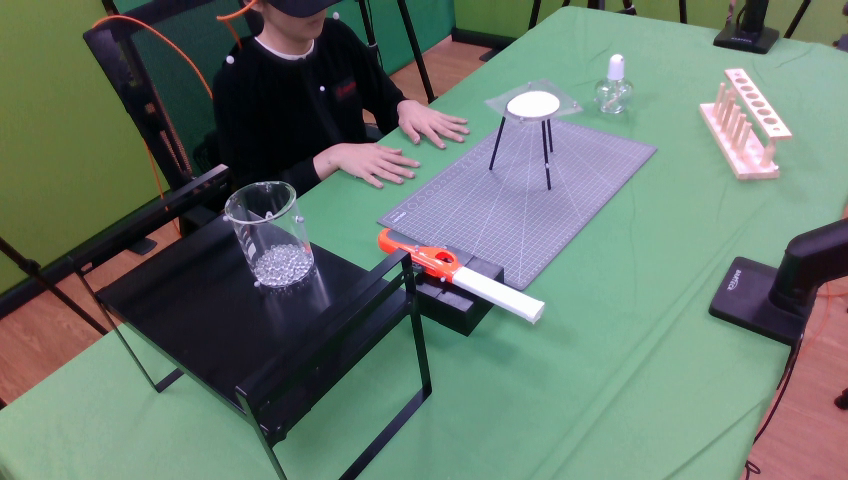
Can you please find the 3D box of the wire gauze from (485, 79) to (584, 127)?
[{"bbox_3d":[0.185,-0.232,1.024,0.125,0.011,0.120,-20,42,-12],"label":"wire gauze"}]

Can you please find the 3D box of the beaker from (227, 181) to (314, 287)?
[{"bbox_3d":[-0.166,-0.006,0.670,0.074,0.101,0.083,-8,40,0],"label":"beaker"}]

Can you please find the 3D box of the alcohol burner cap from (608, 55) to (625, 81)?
[{"bbox_3d":[0.383,-0.343,1.198,0.034,0.048,0.033,-5,41,5],"label":"alcohol burner cap"}]

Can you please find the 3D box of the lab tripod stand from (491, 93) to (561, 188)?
[{"bbox_3d":[0.189,-0.180,1.066,0.148,0.132,0.147,-5,42,5],"label":"lab tripod stand"}]

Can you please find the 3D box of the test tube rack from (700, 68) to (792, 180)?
[{"bbox_3d":[0.572,-0.215,1.090,0.066,0.085,0.241,-3,41,7],"label":"test tube rack"}]

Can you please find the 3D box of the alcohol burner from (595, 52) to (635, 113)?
[{"bbox_3d":[0.386,-0.319,1.217,0.078,0.119,0.077,-5,39,4],"label":"alcohol burner"}]

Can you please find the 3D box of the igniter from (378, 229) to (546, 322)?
[{"bbox_3d":[0.041,0.043,0.844,0.274,0.025,0.057,24,47,29],"label":"igniter"}]
